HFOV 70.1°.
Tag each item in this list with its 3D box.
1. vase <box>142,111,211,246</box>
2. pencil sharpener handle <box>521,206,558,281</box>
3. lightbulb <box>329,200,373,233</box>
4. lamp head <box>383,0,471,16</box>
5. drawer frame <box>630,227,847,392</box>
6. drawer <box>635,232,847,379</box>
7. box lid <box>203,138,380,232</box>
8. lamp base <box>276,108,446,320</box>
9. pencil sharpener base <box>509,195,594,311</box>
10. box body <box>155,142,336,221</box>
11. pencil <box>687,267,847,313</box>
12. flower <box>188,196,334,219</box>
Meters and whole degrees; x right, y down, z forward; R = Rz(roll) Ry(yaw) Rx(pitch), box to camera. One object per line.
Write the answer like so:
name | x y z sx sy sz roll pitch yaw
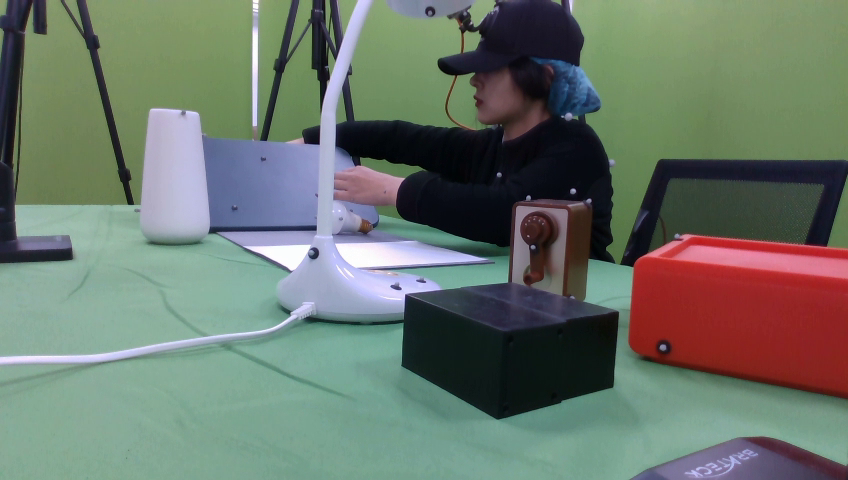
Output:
vase | -0.378 -0.093 0.920 0.098 0.200 0.098 2 9 0
pencil sharpener handle | 0.101 0.003 0.555 0.036 0.067 0.031 0 5 31
lightbulb | -0.143 -0.037 1.109 0.108 0.059 0.059 15 1 -28
lamp head | -0.001 -0.301 0.599 0.112 0.112 0.123 4 -30 14
drawer frame | 0.292 0.043 0.484 0.201 0.082 0.214 7 9 29
drawer | 0.292 0.045 0.488 0.193 0.073 0.213 7 9 30
box lid | -0.286 -0.112 1.202 0.373 0.015 0.262 -2 46 -30
lamp base | -0.061 -0.027 0.555 0.160 0.180 0.180 4 10 20
pencil sharpener base | 0.126 0.011 0.601 0.061 0.107 0.077 7 9 30
box body | -0.410 -0.135 1.386 0.366 0.160 0.253 -2 9 -29
pencil | 0.308 0.044 0.515 0.194 0.012 0.012 13 5 -12
flower | -0.349 -0.067 1.362 0.038 0.044 0.364 23 15 41
